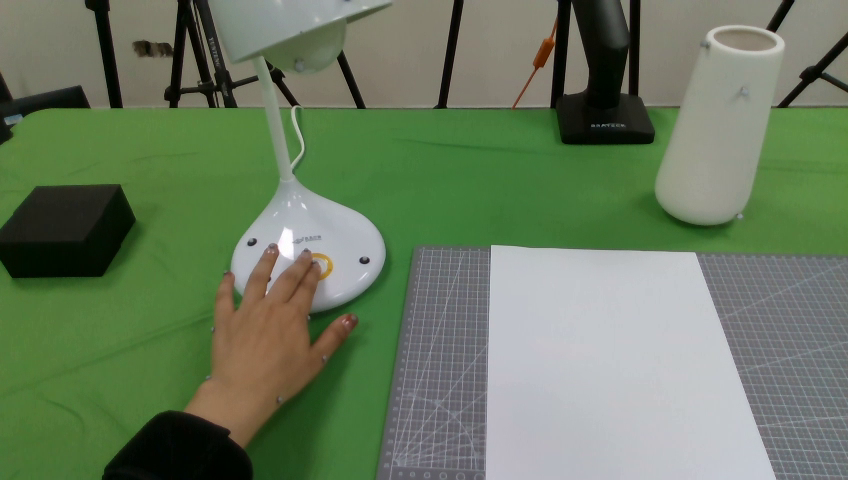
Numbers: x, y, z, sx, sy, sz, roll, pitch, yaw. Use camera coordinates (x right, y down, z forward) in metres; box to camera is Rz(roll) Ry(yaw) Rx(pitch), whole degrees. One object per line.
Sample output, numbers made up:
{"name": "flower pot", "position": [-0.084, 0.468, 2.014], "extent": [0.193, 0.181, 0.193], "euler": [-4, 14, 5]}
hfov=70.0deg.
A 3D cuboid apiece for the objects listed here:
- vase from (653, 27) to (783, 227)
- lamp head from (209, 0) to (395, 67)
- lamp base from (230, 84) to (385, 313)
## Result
{"name": "vase", "position": [0.303, -0.112, 0.631], "extent": [0.098, 0.202, 0.097], "euler": [-2, 39, 2]}
{"name": "lamp head", "position": [-0.091, -0.181, 0.374], "extent": [0.112, 0.123, 0.112], "euler": [-22, 14, 6]}
{"name": "lamp base", "position": [-0.130, -0.049, 0.596], "extent": [0.161, 0.182, 0.177], "euler": [-19, 41, -19]}
